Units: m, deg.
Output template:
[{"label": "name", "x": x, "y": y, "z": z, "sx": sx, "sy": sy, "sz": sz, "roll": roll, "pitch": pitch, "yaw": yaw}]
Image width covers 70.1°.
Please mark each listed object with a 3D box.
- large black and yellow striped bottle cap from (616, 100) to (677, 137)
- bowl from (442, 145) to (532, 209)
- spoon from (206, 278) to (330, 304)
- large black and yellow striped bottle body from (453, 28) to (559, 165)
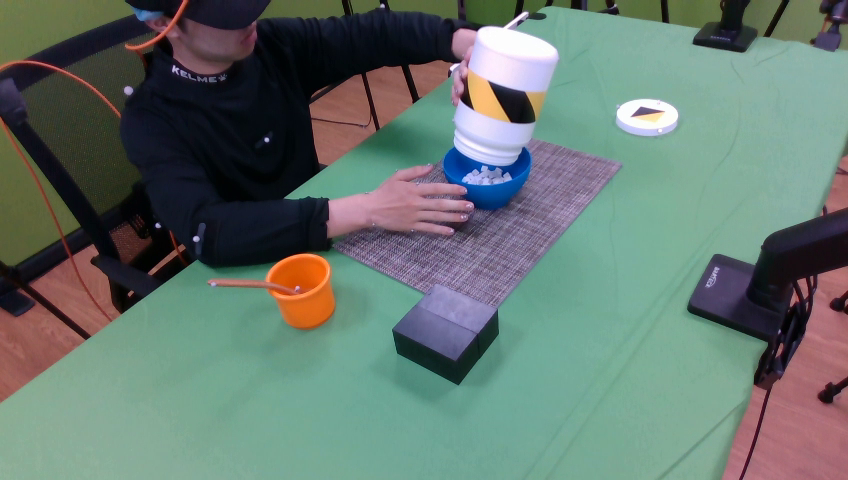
[{"label": "large black and yellow striped bottle cap", "x": 0.438, "y": -0.241, "z": 1.190, "sx": 0.115, "sy": 0.019, "sz": 0.114, "roll": -4, "pitch": 42, "yaw": 4}, {"label": "bowl", "x": 0.108, "y": -0.106, "z": 1.026, "sx": 0.151, "sy": 0.077, "sz": 0.150, "roll": -4, "pitch": 40, "yaw": 4}, {"label": "spoon", "x": -0.207, "y": 0.066, "z": 0.824, "sx": 0.041, "sy": 0.195, "sz": 0.021, "roll": 34, "pitch": 100, "yaw": 41}, {"label": "large black and yellow striped bottle body", "x": 0.121, "y": -0.223, "z": 0.949, "sx": 0.131, "sy": 0.184, "sz": 0.130, "roll": 12, "pitch": 30, "yaw": -7}]
